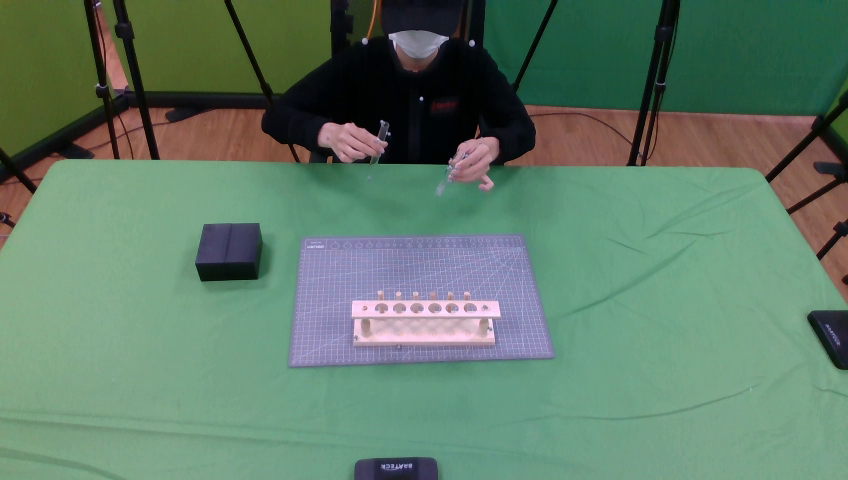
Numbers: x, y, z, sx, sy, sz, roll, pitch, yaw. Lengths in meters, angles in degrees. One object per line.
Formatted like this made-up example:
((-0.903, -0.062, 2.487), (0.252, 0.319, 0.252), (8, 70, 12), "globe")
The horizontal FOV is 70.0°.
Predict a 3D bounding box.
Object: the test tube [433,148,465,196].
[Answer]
((0.044, -0.122, 1.119), (0.017, 0.151, 0.017), (8, 62, -14), "test tube")

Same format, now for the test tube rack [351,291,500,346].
((0.000, 0.129, 1.026), (0.242, 0.085, 0.066), (1, 46, -4), "test tube rack")

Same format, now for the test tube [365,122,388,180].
((-0.095, -0.172, 1.194), (0.017, 0.151, 0.017), (11, 49, -12), "test tube")
